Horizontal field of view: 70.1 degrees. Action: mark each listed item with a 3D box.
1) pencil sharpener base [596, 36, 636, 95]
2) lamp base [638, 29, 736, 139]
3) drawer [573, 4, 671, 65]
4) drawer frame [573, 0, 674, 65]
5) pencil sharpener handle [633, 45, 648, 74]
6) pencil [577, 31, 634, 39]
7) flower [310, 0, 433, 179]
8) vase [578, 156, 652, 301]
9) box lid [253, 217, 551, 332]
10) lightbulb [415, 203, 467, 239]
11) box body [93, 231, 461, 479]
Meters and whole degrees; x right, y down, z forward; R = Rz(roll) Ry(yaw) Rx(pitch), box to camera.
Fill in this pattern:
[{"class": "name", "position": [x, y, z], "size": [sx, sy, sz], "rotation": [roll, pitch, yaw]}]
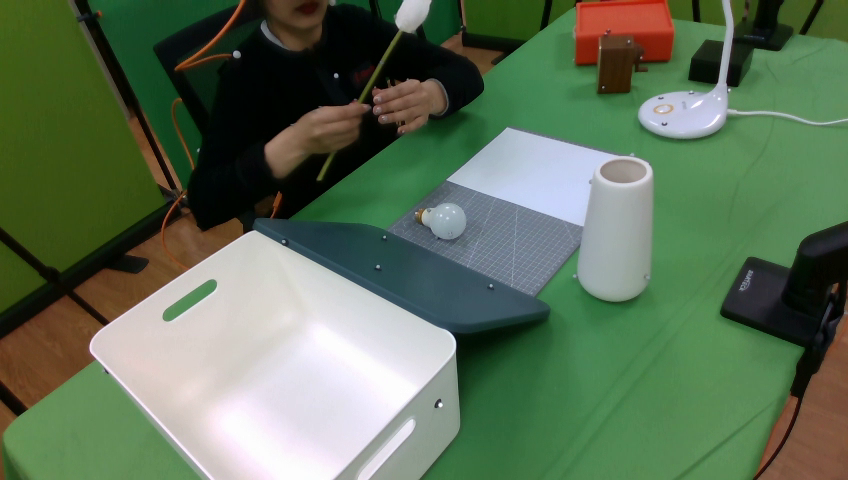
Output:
[{"class": "pencil sharpener base", "position": [0.406, -0.369, 1.280], "size": [0.076, 0.107, 0.061], "rotation": [1, 41, 13]}, {"class": "lamp base", "position": [0.501, -0.302, 1.125], "size": [0.179, 0.181, 0.160], "rotation": [-4, 40, 3]}, {"class": "drawer", "position": [0.461, -0.490, 1.435], "size": [0.211, 0.073, 0.194], "rotation": [2, 40, 12]}, {"class": "drawer frame", "position": [0.464, -0.492, 1.434], "size": [0.213, 0.083, 0.201], "rotation": [1, 40, 12]}, {"class": "pencil sharpener handle", "position": [0.454, -0.378, 1.262], "size": [0.030, 0.068, 0.036], "rotation": [1, 47, 13]}, {"class": "pencil", "position": [0.431, -0.489, 1.443], "size": [0.012, 0.012, 0.192], "rotation": [-25, 30, -18]}, {"class": "flower", "position": [-0.096, -0.225, 0.949], "size": [0.038, 0.361, 0.044], "rotation": [22, 35, -26]}, {"class": "vase", "position": [0.261, -0.011, 0.812], "size": [0.098, 0.201, 0.097], "rotation": [-4, 40, 4]}, {"class": "box lid", "position": [-0.031, 0.037, 0.833], "size": [0.368, 0.015, 0.265], "rotation": [24, 12, 33]}, {"class": "lightbulb", "position": [0.024, -0.034, 0.998], "size": [0.060, 0.060, 0.107], "rotation": [-38, 32, -30]}, {"class": "box body", "position": [-0.162, 0.170, 0.708], "size": [0.361, 0.161, 0.255], "rotation": [25, 50, 34]}]
